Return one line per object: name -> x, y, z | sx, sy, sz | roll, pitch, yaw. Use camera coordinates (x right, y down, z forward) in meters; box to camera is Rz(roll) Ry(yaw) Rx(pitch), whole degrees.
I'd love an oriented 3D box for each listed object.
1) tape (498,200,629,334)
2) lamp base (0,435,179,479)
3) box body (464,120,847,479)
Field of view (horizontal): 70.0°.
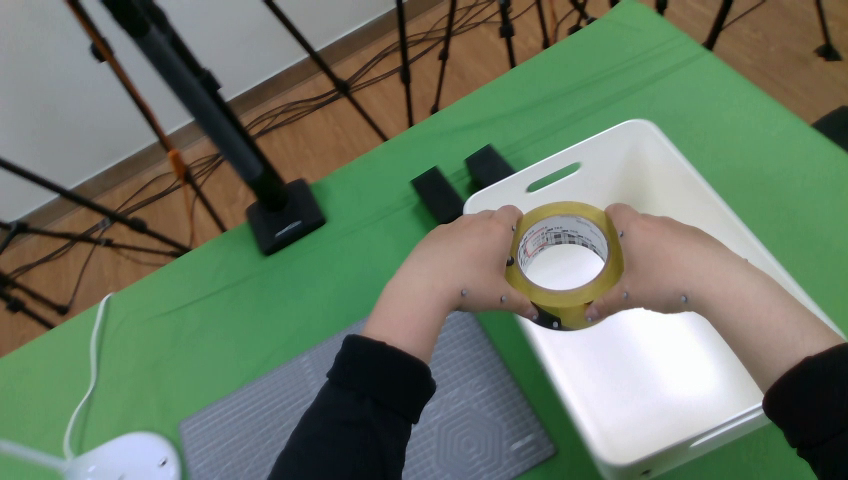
tape -> 0.126, 0.023, 0.554 | 0.116, 0.053, 0.116 | -8, 56, 12
lamp base -> -0.441, 0.306, 0.771 | 0.178, 0.182, 0.159 | 2, 59, 23
box body -> 0.238, 0.068, 0.711 | 0.254, 0.162, 0.360 | -26, 54, 1
